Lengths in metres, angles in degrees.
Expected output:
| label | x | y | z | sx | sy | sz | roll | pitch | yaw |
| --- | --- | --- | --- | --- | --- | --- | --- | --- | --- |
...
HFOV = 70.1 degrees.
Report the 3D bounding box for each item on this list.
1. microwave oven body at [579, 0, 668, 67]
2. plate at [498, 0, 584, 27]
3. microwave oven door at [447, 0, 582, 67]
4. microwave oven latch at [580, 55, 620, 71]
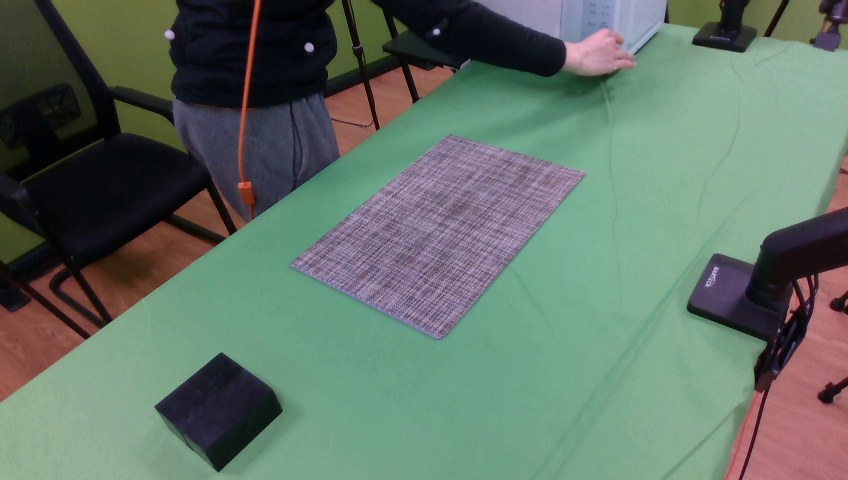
| label | x | y | z | sx | sy | sz | roll | pitch | yaw |
| --- | --- | --- | --- | --- | --- | --- | --- | --- | --- |
| microwave oven body | 0.325 | -0.609 | 1.437 | 0.438 | 0.261 | 0.327 | 23 | 49 | 30 |
| plate | 0.286 | -0.572 | 1.489 | 0.209 | 0.038 | 0.208 | -5 | 41 | 5 |
| microwave oven door | 0.203 | -0.544 | 1.372 | 0.353 | 0.245 | 0.039 | 23 | 49 | 29 |
| microwave oven latch | 0.386 | -0.394 | 1.329 | 0.078 | 0.029 | 0.030 | 24 | 50 | 32 |
